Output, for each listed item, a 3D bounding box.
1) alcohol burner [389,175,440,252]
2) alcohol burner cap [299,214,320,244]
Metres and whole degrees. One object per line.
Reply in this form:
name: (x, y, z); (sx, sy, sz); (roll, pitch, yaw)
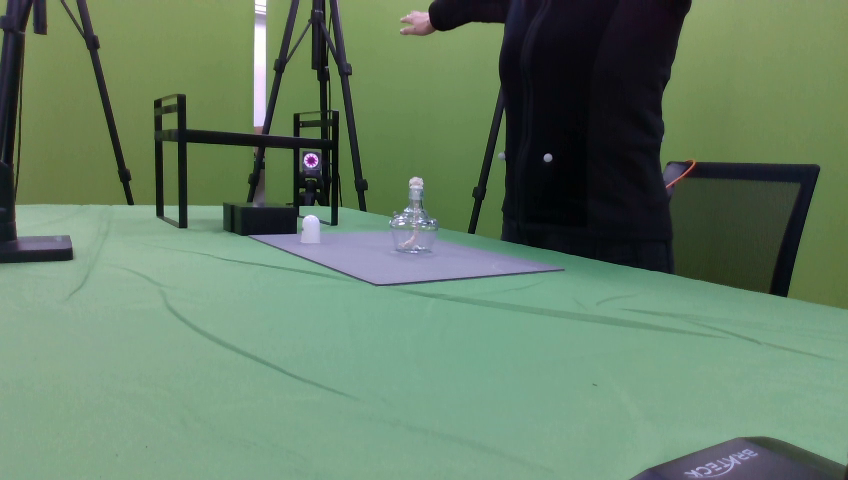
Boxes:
alcohol burner: (-0.013, -0.041, 0.929); (0.078, 0.119, 0.078); (4, 8, 0)
alcohol burner cap: (-0.185, -0.018, 0.979); (0.034, 0.048, 0.034); (3, 8, 0)
